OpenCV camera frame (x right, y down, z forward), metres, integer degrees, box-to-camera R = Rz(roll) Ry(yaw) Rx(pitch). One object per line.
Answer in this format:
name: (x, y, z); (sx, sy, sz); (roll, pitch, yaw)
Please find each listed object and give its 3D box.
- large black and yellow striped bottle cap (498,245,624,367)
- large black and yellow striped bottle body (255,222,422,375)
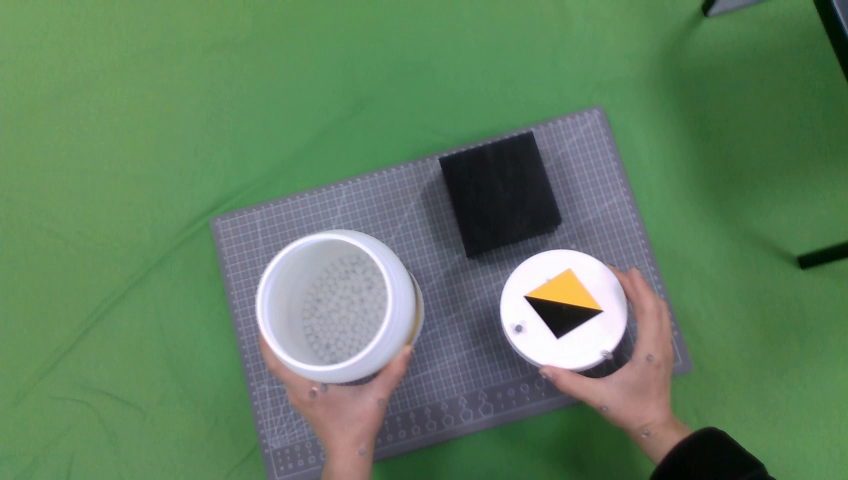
large black and yellow striped bottle cap: (0.125, 0.059, 0.560); (0.115, 0.019, 0.114); (-3, 68, 7)
large black and yellow striped bottle body: (-0.072, 0.056, 0.556); (0.131, 0.184, 0.130); (-1, 81, 4)
